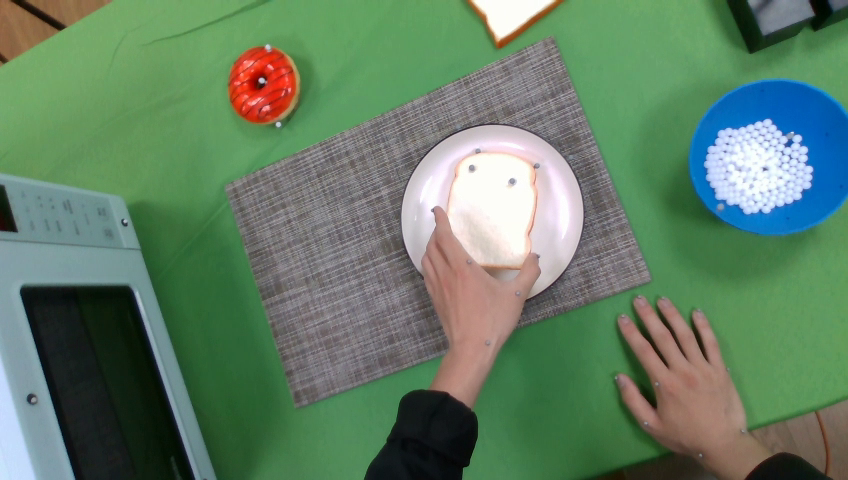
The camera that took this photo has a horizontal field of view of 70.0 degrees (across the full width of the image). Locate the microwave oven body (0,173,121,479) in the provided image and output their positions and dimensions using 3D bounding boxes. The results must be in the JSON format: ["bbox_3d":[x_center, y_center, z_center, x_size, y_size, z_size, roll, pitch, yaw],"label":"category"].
[{"bbox_3d":[-0.496,0.192,0.703,0.326,0.261,0.440,-24,83,11],"label":"microwave oven body"}]

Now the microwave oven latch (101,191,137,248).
[{"bbox_3d":[-0.405,-0.023,0.789,0.030,0.029,0.079,-23,83,11],"label":"microwave oven latch"}]

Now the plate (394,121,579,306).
[{"bbox_3d":[0.070,-0.028,0.689,0.207,0.039,0.207,-1,88,14],"label":"plate"}]

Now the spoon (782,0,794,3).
[{"bbox_3d":[0.340,-0.267,0.557,0.021,0.195,0.041,-21,80,27],"label":"spoon"}]

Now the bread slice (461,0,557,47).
[{"bbox_3d":[0.087,-0.308,0.711,0.105,0.019,0.131,-36,81,9],"label":"bread slice"}]

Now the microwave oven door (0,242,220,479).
[{"bbox_3d":[-0.350,0.173,0.663,0.039,0.245,0.354,-24,82,12],"label":"microwave oven door"}]

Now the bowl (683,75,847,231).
[{"bbox_3d":[0.335,-0.080,0.609,0.151,0.077,0.151,-1,87,14],"label":"bowl"}]

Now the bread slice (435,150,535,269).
[{"bbox_3d":[0.070,-0.035,0.680,0.106,0.018,0.134,2,80,14],"label":"bread slice"}]

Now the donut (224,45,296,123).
[{"bbox_3d":[-0.208,-0.196,0.764,0.099,0.048,0.099,-1,88,16],"label":"donut"}]
